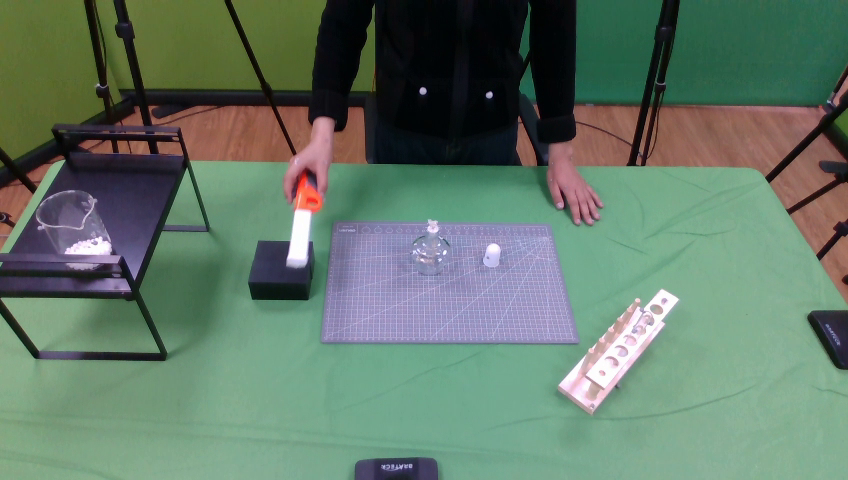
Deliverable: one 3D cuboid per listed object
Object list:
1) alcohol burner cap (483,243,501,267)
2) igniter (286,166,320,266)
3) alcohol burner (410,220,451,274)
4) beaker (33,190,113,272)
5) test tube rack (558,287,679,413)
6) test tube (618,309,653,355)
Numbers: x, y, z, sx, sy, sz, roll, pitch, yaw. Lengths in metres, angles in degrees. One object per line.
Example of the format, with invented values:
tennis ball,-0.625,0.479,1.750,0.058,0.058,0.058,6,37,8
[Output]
alcohol burner cap,0.132,0.025,1.161,0.034,0.048,0.033,3,47,-3
igniter,-0.216,-0.052,1.083,0.057,0.025,0.274,8,39,-11
alcohol burner,0.013,0.007,1.120,0.078,0.120,0.077,1,48,-1
beaker,-0.493,-0.009,0.865,0.083,0.101,0.074,37,55,27
test tube rack,0.326,0.170,1.009,0.066,0.085,0.242,36,54,26
test tube,0.329,0.155,0.956,0.017,0.151,0.017,2,51,-2
